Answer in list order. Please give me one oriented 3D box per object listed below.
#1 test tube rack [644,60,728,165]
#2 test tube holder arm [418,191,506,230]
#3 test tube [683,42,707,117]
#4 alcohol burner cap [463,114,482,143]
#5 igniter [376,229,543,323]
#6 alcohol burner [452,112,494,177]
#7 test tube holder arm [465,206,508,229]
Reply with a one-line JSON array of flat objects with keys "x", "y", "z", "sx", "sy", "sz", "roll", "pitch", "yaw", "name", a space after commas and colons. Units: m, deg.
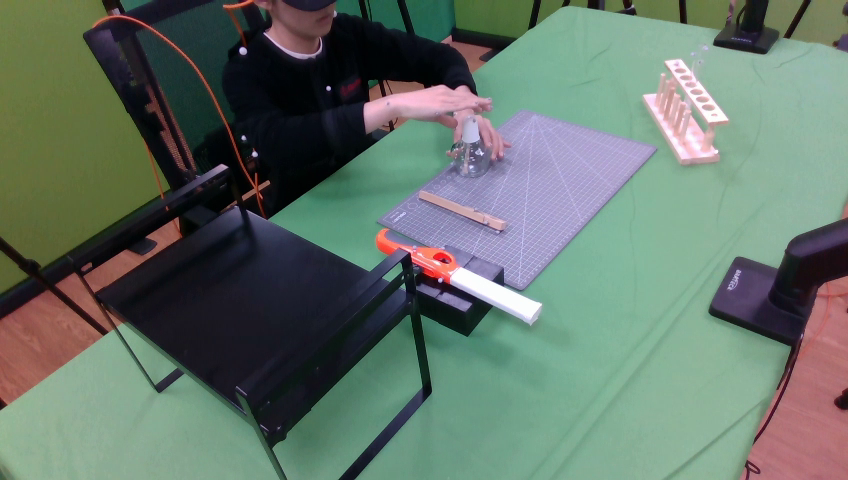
[{"x": 0.485, "y": -0.246, "z": 1.140, "sx": 0.067, "sy": 0.085, "sz": 0.241, "roll": -5, "pitch": 41, "yaw": 4, "name": "test tube rack"}, {"x": 0.061, "y": -0.052, "z": 1.024, "sx": 0.177, "sy": 0.015, "sz": 0.013, "roll": 23, "pitch": 14, "yaw": 31, "name": "test tube holder arm"}, {"x": 0.497, "y": -0.292, "z": 1.114, "sx": 0.017, "sy": 0.151, "sz": 0.017, "roll": -4, "pitch": 44, "yaw": 4, "name": "test tube"}, {"x": 0.085, "y": -0.201, "z": 1.073, "sx": 0.034, "sy": 0.048, "sz": 0.033, "roll": -5, "pitch": 40, "yaw": 4, "name": "alcohol burner cap"}, {"x": 0.038, "y": 0.044, "z": 0.843, "sx": 0.274, "sy": 0.025, "sz": 0.057, "roll": 25, "pitch": 47, "yaw": 29, "name": "igniter"}, {"x": 0.087, "y": -0.176, "z": 1.093, "sx": 0.078, "sy": 0.119, "sz": 0.077, "roll": -5, "pitch": 38, "yaw": 4, "name": "alcohol burner"}, {"x": 0.100, "y": -0.038, "z": 1.005, "sx": 0.087, "sy": 0.015, "sz": 0.010, "roll": 23, "pitch": 14, "yaw": 32, "name": "test tube holder arm"}]
